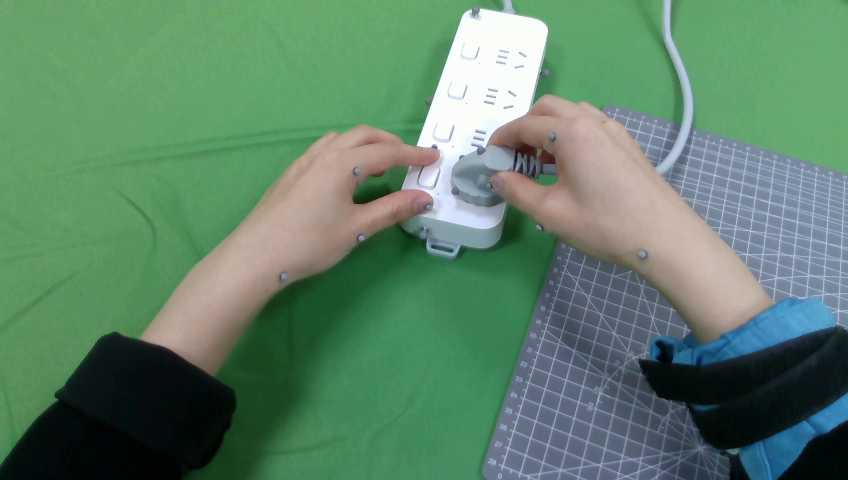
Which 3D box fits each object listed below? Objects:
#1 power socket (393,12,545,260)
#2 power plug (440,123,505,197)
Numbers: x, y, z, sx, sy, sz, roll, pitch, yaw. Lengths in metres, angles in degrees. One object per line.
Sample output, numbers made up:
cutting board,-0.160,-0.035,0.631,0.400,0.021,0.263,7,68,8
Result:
power socket,0.038,-0.088,0.446,0.072,0.033,0.225,14,59,6
power plug,0.034,-0.052,0.367,0.035,0.072,0.052,32,79,0
